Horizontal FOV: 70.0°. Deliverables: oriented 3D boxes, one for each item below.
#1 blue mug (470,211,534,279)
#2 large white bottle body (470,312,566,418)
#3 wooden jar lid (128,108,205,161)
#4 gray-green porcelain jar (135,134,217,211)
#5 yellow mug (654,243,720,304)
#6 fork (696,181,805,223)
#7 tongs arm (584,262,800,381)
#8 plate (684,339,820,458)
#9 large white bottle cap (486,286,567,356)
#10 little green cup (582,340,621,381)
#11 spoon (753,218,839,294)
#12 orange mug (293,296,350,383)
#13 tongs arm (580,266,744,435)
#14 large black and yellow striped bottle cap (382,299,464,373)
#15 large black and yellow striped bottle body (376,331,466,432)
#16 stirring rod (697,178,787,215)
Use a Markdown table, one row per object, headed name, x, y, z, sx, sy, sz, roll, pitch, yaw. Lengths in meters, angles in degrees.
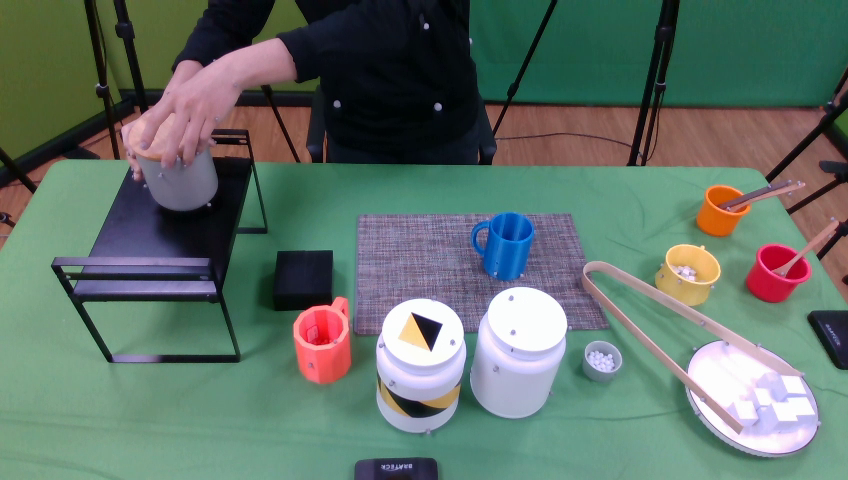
| name | x | y | z | sx | sy | sz | roll | pitch | yaw |
| --- | --- | --- | --- | --- | --- | --- | --- | --- | --- |
| blue mug | 0.141 | 0.005 | 1.140 | 0.116 | 0.106 | 0.082 | 18 | 48 | 13 |
| large white bottle body | 0.143 | 0.173 | 0.930 | 0.131 | 0.185 | 0.130 | 2 | 46 | -2 |
| wooden jar lid | -0.381 | -0.154 | 0.902 | 0.108 | 0.021 | 0.107 | 3 | 53 | -3 |
| gray-green porcelain jar | -0.386 | -0.116 | 0.952 | 0.106 | 0.127 | 0.105 | 3 | 53 | -4 |
| yellow mug | 0.504 | 0.054 | 1.154 | 0.099 | 0.064 | 0.130 | 28 | 50 | 22 |
| fork | 0.659 | -0.077 | 1.232 | 0.207 | 0.019 | 0.028 | -26 | 36 | 34 |
| tongs arm | 0.452 | 0.137 | 1.064 | 0.051 | 0.027 | 0.382 | -34 | 50 | -27 |
| plate | 0.523 | 0.256 | 0.983 | 0.208 | 0.039 | 0.206 | 2 | 46 | -2 |
| large white bottle cap | 0.147 | 0.114 | 0.869 | 0.115 | 0.018 | 0.114 | 3 | 46 | -3 |
| little green cup | 0.295 | 0.204 | 1.015 | 0.061 | 0.039 | 0.061 | 2 | 45 | -2 |
| spoon | 0.700 | 0.031 | 1.138 | 0.194 | 0.022 | 0.041 | -47 | 55 | 14 |
| orange mug | -0.157 | 0.154 | 0.985 | 0.083 | 0.101 | 0.125 | 17 | 52 | 11 |
| tongs arm | 0.384 | 0.174 | 1.029 | 0.028 | 0.028 | 0.385 | -25 | 46 | -14 |
| large black and yellow striped bottle cap | -0.002 | 0.132 | 0.843 | 0.115 | 0.019 | 0.114 | 2 | 46 | -1 |
| large black and yellow striped bottle body | -0.007 | 0.189 | 0.905 | 0.131 | 0.185 | 0.130 | 2 | 46 | -2 |
| stirring rod | 0.650 | -0.088 | 1.246 | 0.006 | 0.176 | 0.014 | 29 | 50 | -39 |
